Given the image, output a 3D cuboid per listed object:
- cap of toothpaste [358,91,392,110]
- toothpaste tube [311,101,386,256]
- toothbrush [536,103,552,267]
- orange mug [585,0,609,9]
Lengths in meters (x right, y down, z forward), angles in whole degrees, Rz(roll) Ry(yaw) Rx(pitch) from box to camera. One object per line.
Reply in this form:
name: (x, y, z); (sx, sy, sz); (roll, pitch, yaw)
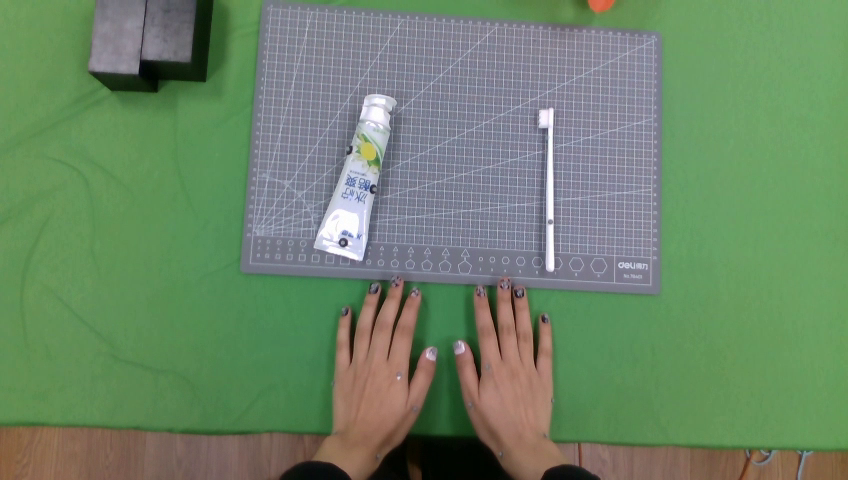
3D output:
cap of toothpaste: (-0.052, -0.148, 0.645); (0.037, 0.037, 0.011); (4, 81, -3)
toothpaste tube: (-0.074, -0.069, 0.641); (0.055, 0.034, 0.165); (14, 87, 5)
toothbrush: (0.131, -0.061, 0.660); (0.016, 0.014, 0.181); (0, 84, 0)
orange mug: (0.177, -0.320, 0.652); (0.083, 0.101, 0.125); (-18, 80, -5)
